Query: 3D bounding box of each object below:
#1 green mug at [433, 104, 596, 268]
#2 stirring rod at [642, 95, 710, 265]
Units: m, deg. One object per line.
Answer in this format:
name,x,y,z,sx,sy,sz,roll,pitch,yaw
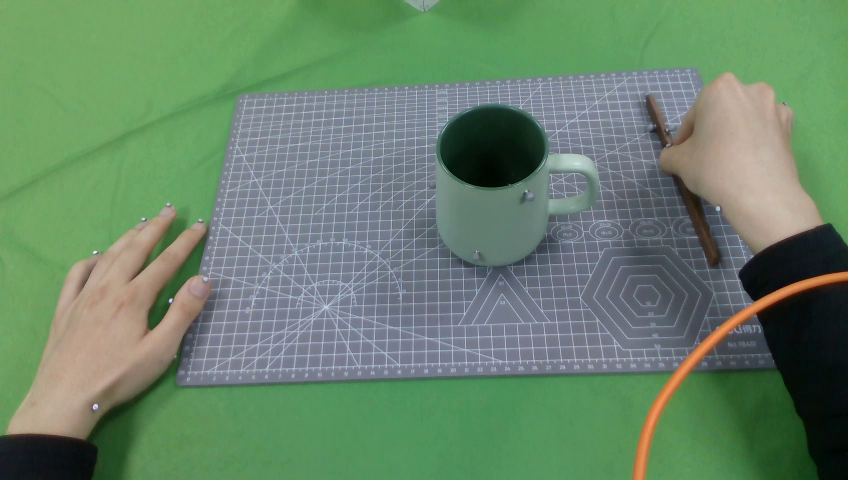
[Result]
green mug,0.067,-0.039,0.462,0.125,0.106,0.091,-1,59,4
stirring rod,0.211,-0.056,0.512,0.006,0.014,0.174,-3,59,-3
